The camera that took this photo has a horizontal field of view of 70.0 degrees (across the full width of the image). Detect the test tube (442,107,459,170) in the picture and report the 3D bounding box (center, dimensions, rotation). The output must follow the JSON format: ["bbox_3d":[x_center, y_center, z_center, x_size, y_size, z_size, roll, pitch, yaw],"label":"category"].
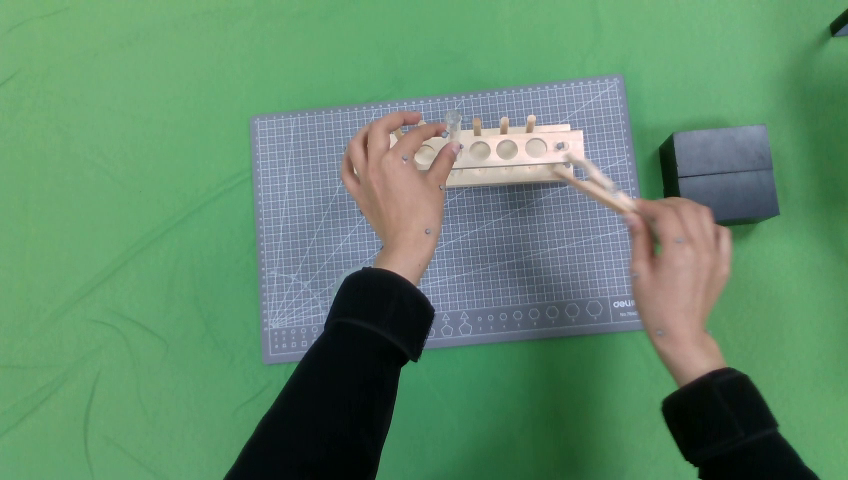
[{"bbox_3d":[0.027,-0.100,0.622,0.017,0.151,0.017,0,79,3],"label":"test tube"}]

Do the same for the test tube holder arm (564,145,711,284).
[{"bbox_3d":[0.200,-0.024,0.568,0.178,0.015,0.013,43,81,4],"label":"test tube holder arm"}]

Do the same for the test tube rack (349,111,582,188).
[{"bbox_3d":[0.044,-0.105,0.672,0.242,0.085,0.066,-3,83,3],"label":"test tube rack"}]

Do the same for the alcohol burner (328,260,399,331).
[{"bbox_3d":[-0.067,0.057,0.643,0.078,0.119,0.077,0,80,3],"label":"alcohol burner"}]

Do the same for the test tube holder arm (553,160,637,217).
[{"bbox_3d":[0.162,-0.048,0.570,0.088,0.015,0.010,31,79,2],"label":"test tube holder arm"}]
